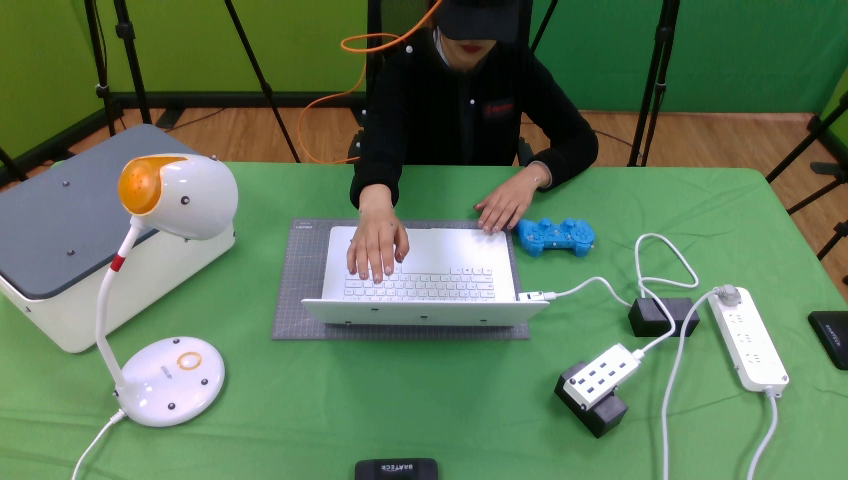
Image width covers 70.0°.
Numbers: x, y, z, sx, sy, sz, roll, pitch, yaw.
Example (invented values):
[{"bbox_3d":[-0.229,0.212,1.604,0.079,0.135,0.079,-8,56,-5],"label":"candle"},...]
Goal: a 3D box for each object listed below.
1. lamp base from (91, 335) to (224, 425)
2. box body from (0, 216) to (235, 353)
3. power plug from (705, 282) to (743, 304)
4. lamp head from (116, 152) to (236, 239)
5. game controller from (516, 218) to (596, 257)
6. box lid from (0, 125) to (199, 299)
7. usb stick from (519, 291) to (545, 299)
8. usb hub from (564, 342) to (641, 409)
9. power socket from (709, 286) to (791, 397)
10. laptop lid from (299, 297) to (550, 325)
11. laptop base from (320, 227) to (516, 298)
[{"bbox_3d":[-0.401,0.170,0.892,0.160,0.181,0.179,30,53,23],"label":"lamp base"},{"bbox_3d":[-0.550,-0.007,1.068,0.253,0.161,0.363,30,51,23],"label":"box body"},{"bbox_3d":[0.539,0.097,1.098,0.072,0.053,0.035,8,47,8],"label":"power plug"},{"bbox_3d":[-0.315,-0.057,0.747,0.112,0.112,0.123,26,10,20],"label":"lamp head"},{"bbox_3d":[0.267,-0.015,1.212,0.155,0.052,0.096,0,50,-3],"label":"game controller"},{"bbox_3d":[-0.540,-0.068,1.016,0.262,0.015,0.371,30,51,23],"label":"box lid"},{"bbox_3d":[0.186,0.108,1.085,0.059,0.027,0.021,-8,47,1],"label":"usb stick"},{"bbox_3d":[0.278,0.208,0.942,0.125,0.025,0.049,-26,52,-28],"label":"usb hub"},{"bbox_3d":[0.568,0.167,1.064,0.072,0.033,0.225,2,46,-1],"label":"power socket"},{"bbox_3d":[-0.002,0.114,0.943,0.357,0.242,0.013,1,74,-4],"label":"laptop lid"},{"bbox_3d":[-0.010,0.062,1.137,0.354,0.023,0.234,1,42,-3],"label":"laptop base"}]
